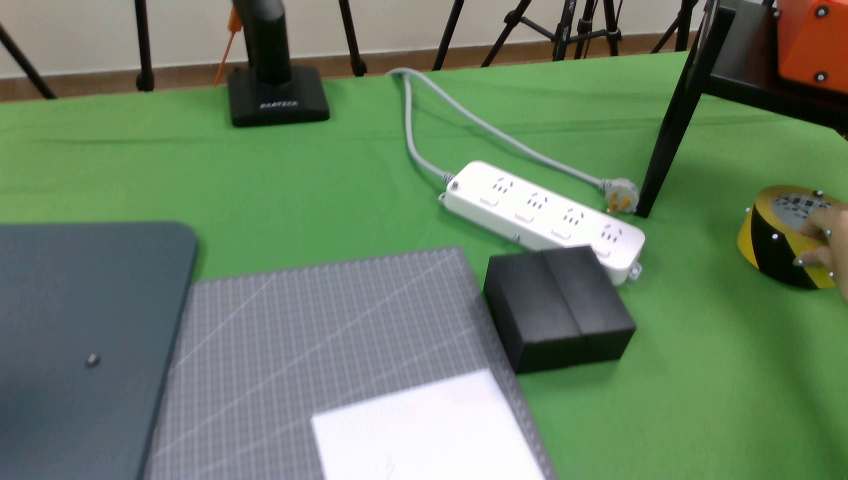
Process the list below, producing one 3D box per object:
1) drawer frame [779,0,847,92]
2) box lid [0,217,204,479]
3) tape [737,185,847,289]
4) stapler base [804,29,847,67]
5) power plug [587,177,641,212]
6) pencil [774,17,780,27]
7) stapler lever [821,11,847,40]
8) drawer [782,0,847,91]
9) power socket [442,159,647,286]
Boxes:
[{"bbox_3d":[0.453,-0.210,0.573,0.201,0.083,0.212,18,46,12],"label":"drawer frame"},{"bbox_3d":[-0.338,0.112,0.478,0.264,0.015,0.367,-1,45,-5],"label":"box lid"},{"bbox_3d":[0.393,-0.005,0.630,0.117,0.053,0.115,2,40,-1],"label":"tape"},{"bbox_3d":[0.425,-0.168,0.557,0.129,0.024,0.041,31,48,25],"label":"stapler base"},{"bbox_3d":[0.212,-0.049,0.691,0.072,0.035,0.052,-1,27,46],"label":"power plug"},{"bbox_3d":[0.432,-0.190,0.579,0.012,0.012,0.192,-27,43,-28],"label":"pencil"},{"bbox_3d":[0.425,-0.186,0.541,0.117,0.040,0.027,32,48,24],"label":"stapler lever"},{"bbox_3d":[0.452,-0.207,0.572,0.194,0.074,0.210,19,46,13],"label":"drawer"},{"bbox_3d":[0.127,-0.023,0.644,0.225,0.033,0.072,27,48,21],"label":"power socket"}]
